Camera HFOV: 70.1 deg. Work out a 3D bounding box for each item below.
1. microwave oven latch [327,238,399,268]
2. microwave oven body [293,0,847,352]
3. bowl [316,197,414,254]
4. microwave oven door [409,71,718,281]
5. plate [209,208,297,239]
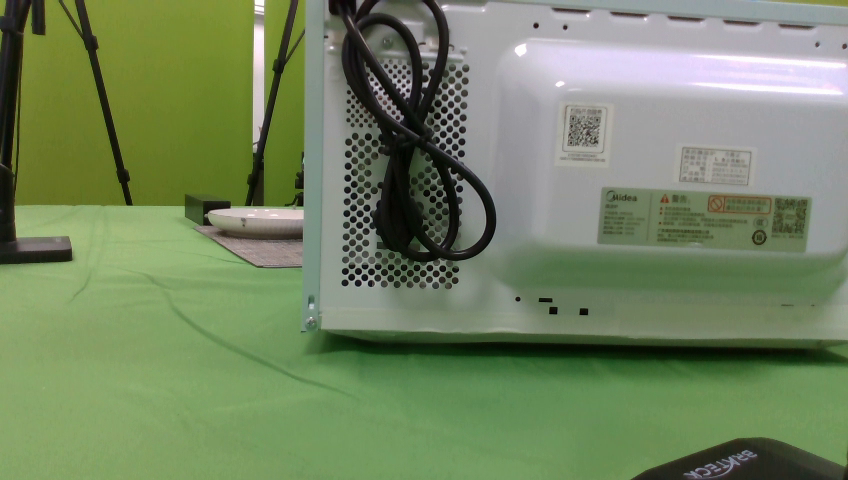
[{"bbox_3d":[-0.069,0.015,0.694,0.079,0.029,0.030,3,7,-3],"label":"microwave oven latch"},{"bbox_3d":[0.122,-0.055,0.550,0.442,0.260,0.325,3,7,-5],"label":"microwave oven body"},{"bbox_3d":[-0.092,-0.023,0.931,0.151,0.077,0.151,3,8,0],"label":"bowl"},{"bbox_3d":[0.160,-0.084,0.746,0.355,0.243,0.039,4,6,12],"label":"microwave oven door"},{"bbox_3d":[-0.271,-0.029,1.074,0.208,0.039,0.207,3,7,0],"label":"plate"}]
